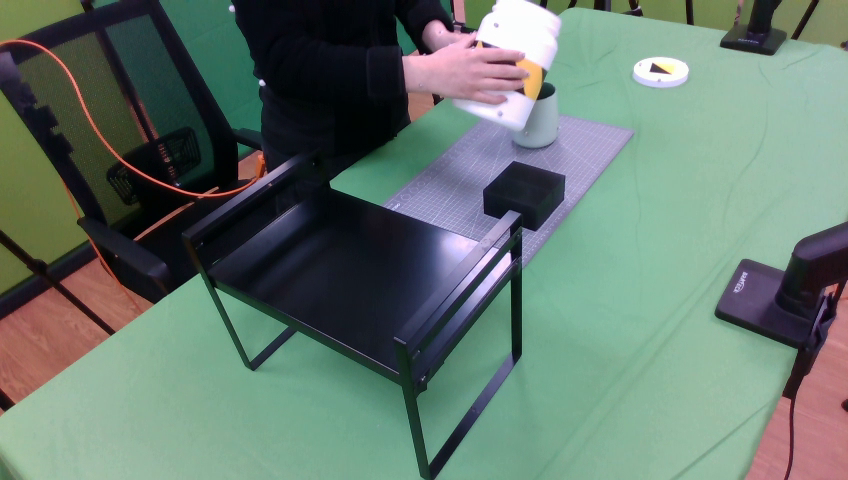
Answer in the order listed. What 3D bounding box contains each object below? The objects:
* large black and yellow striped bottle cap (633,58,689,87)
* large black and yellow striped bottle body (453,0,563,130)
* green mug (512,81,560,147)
[{"bbox_3d":[0.521,-0.370,1.332,0.115,0.019,0.114,-3,41,3],"label":"large black and yellow striped bottle cap"},{"bbox_3d":[0.139,-0.287,0.984,0.131,0.184,0.130,21,14,-5],"label":"large black and yellow striped bottle body"},{"bbox_3d":[0.217,-0.251,1.169,0.092,0.105,0.125,1,41,12],"label":"green mug"}]
